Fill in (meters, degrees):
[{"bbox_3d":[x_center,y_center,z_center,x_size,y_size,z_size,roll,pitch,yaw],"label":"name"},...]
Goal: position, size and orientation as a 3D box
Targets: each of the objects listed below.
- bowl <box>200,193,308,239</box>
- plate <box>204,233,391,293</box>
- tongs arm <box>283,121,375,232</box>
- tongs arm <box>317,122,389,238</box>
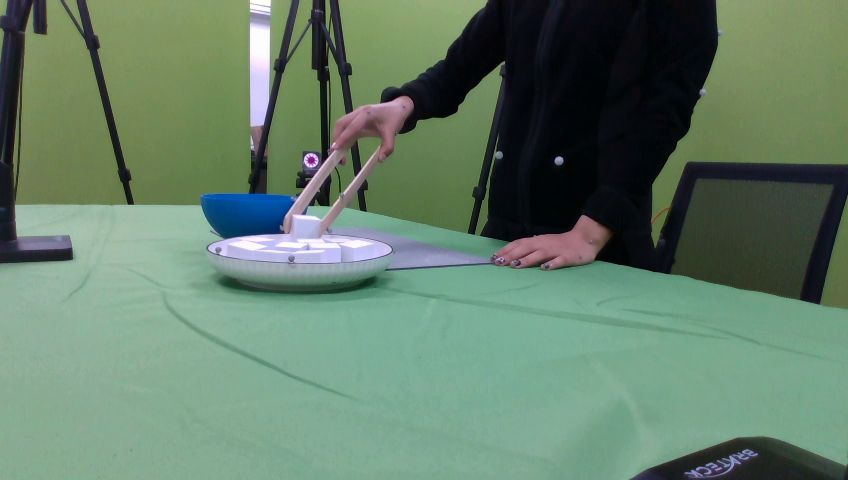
[{"bbox_3d":[-0.245,-0.025,0.879,0.151,0.077,0.151,2,8,0],"label":"bowl"},{"bbox_3d":[-0.143,0.025,0.697,0.208,0.039,0.207,3,9,0],"label":"plate"},{"bbox_3d":[-0.135,-0.111,0.911,0.028,0.028,0.387,7,29,8],"label":"tongs arm"},{"bbox_3d":[-0.107,-0.106,0.909,0.051,0.026,0.385,11,30,9],"label":"tongs arm"}]
